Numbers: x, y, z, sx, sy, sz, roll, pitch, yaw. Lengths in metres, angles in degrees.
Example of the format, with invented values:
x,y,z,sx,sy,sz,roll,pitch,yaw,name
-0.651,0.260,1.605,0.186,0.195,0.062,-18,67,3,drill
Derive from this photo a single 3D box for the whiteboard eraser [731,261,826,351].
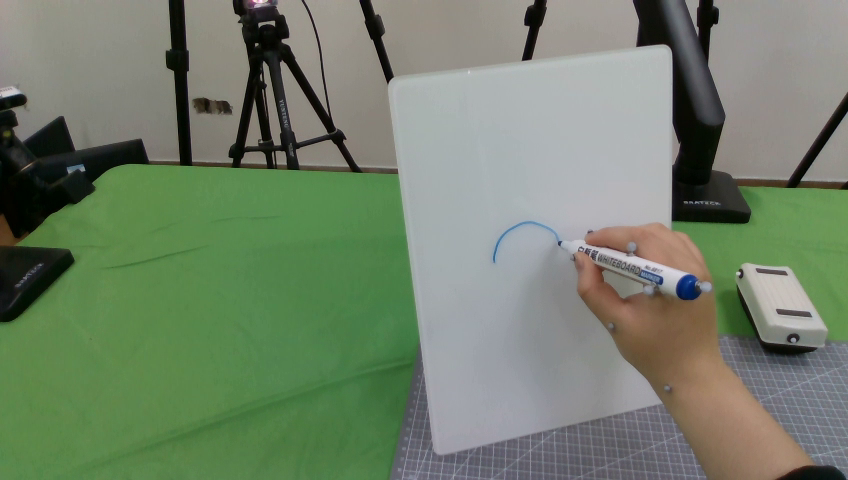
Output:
x,y,z,sx,sy,sz,roll,pitch,yaw,name
0.351,0.065,0.606,0.055,0.042,0.112,3,31,10,whiteboard eraser

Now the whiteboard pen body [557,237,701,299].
x,y,z,sx,sy,sz,roll,pitch,yaw,name
0.128,0.014,0.405,0.017,0.017,0.139,-15,16,-17,whiteboard pen body

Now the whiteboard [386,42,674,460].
x,y,z,sx,sy,sz,roll,pitch,yaw,name
0.082,-0.001,0.534,0.217,0.307,0.143,-9,16,-10,whiteboard
